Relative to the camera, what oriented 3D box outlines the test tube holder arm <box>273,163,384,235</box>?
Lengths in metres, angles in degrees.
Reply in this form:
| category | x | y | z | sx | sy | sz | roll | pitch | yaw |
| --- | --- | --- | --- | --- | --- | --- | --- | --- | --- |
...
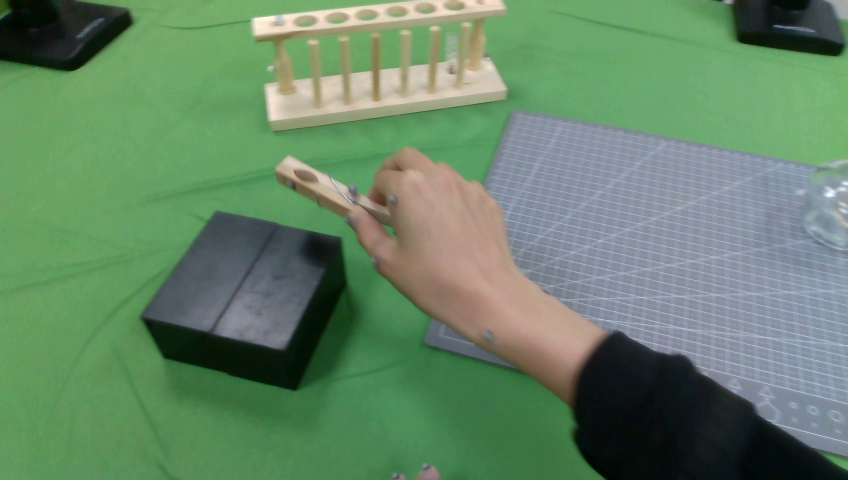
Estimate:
| category | x | y | z | sx | sy | sz | roll | pitch | yaw |
| --- | --- | --- | --- | --- | --- | --- | --- | --- | --- |
| test tube holder arm | -0.062 | -0.028 | 0.405 | 0.087 | 0.015 | 0.010 | 26 | 61 | 14 |

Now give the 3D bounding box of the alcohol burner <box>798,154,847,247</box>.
| category | x | y | z | sx | sy | sz | roll | pitch | yaw |
| --- | --- | --- | --- | --- | --- | --- | --- | --- | --- |
| alcohol burner | 0.350 | -0.051 | 0.476 | 0.078 | 0.120 | 0.077 | 1 | 47 | -1 |

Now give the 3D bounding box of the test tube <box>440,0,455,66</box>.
| category | x | y | z | sx | sy | sz | roll | pitch | yaw |
| --- | --- | --- | --- | --- | --- | --- | --- | --- | --- |
| test tube | 0.023 | -0.242 | 0.596 | 0.017 | 0.151 | 0.017 | -1 | 45 | 1 |

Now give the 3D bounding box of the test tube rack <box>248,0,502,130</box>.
| category | x | y | z | sx | sy | sz | roll | pitch | yaw |
| --- | --- | --- | --- | --- | --- | --- | --- | --- | --- |
| test tube rack | -0.043 | -0.181 | 0.608 | 0.243 | 0.086 | 0.066 | -10 | 49 | -10 |

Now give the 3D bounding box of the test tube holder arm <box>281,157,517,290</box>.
| category | x | y | z | sx | sy | sz | roll | pitch | yaw |
| --- | --- | --- | --- | --- | --- | --- | --- | --- | --- |
| test tube holder arm | -0.020 | -0.013 | 0.397 | 0.177 | 0.015 | 0.013 | 26 | 61 | 14 |
